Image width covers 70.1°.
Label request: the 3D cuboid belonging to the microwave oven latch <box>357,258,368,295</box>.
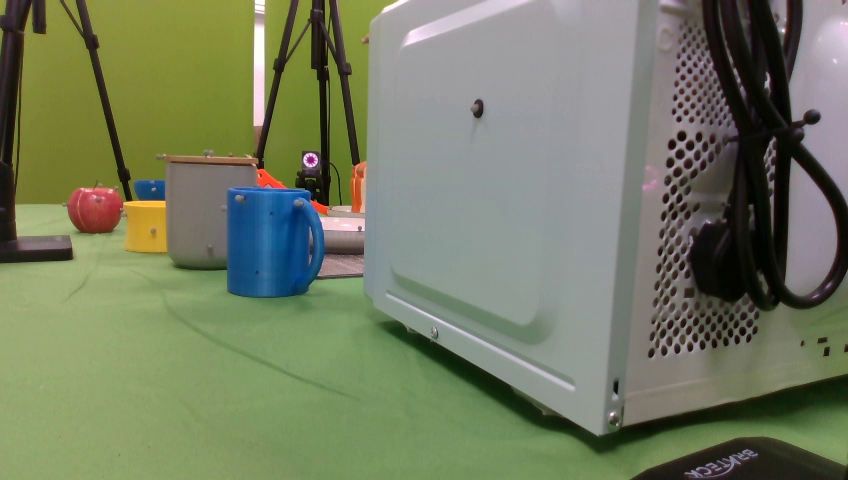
[{"bbox_3d":[-0.019,0.031,0.529,0.079,0.029,0.030,-1,7,-27],"label":"microwave oven latch"}]

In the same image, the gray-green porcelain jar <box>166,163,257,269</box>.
[{"bbox_3d":[-0.263,-0.031,0.754,0.106,0.126,0.106,2,7,0],"label":"gray-green porcelain jar"}]

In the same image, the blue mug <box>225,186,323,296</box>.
[{"bbox_3d":[-0.148,0.000,0.618,0.116,0.106,0.083,7,9,33],"label":"blue mug"}]

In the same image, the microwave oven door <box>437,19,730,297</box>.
[{"bbox_3d":[0.181,-0.076,0.618,0.358,0.243,0.039,-2,9,-28],"label":"microwave oven door"}]

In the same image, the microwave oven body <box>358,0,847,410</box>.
[{"bbox_3d":[0.210,-0.051,0.471,0.444,0.260,0.324,-1,7,-28],"label":"microwave oven body"}]

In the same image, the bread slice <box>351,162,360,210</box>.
[{"bbox_3d":[-0.107,-0.112,1.328,0.107,0.134,0.018,0,-2,-27],"label":"bread slice"}]

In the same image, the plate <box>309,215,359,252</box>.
[{"bbox_3d":[-0.130,-0.011,0.945,0.208,0.039,0.207,2,8,0],"label":"plate"}]

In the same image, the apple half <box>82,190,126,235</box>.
[{"bbox_3d":[-0.516,-0.046,0.994,0.032,0.081,0.081,0,6,26],"label":"apple half"}]

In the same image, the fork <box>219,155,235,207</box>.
[{"bbox_3d":[-0.459,-0.134,1.415,0.028,0.018,0.207,-1,-34,-24],"label":"fork"}]

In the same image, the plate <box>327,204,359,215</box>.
[{"bbox_3d":[-0.102,-0.053,1.299,0.209,0.038,0.209,2,7,0],"label":"plate"}]

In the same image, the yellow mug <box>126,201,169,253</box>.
[{"bbox_3d":[-0.361,-0.019,0.866,0.130,0.064,0.100,6,9,27],"label":"yellow mug"}]

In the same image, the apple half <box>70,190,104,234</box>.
[{"bbox_3d":[-0.552,-0.048,1.010,0.053,0.074,0.081,-1,10,26],"label":"apple half"}]

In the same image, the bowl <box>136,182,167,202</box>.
[{"bbox_3d":[-0.497,-0.076,1.221,0.151,0.077,0.151,2,8,0],"label":"bowl"}]

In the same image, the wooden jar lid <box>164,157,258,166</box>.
[{"bbox_3d":[-0.261,-0.093,0.746,0.108,0.020,0.108,0,9,0],"label":"wooden jar lid"}]

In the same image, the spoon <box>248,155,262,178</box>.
[{"bbox_3d":[-0.417,-0.150,1.543,0.042,0.193,0.021,-6,-34,-32],"label":"spoon"}]

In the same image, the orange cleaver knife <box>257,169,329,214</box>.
[{"bbox_3d":[-0.286,-0.082,1.301,0.212,0.077,0.012,26,-5,-31],"label":"orange cleaver knife"}]

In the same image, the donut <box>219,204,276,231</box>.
[{"bbox_3d":[-0.316,-0.039,1.083,0.099,0.048,0.099,2,7,0],"label":"donut"}]

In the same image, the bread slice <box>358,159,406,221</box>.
[{"bbox_3d":[-0.089,-0.105,1.277,0.105,0.131,0.019,-1,0,-23],"label":"bread slice"}]
